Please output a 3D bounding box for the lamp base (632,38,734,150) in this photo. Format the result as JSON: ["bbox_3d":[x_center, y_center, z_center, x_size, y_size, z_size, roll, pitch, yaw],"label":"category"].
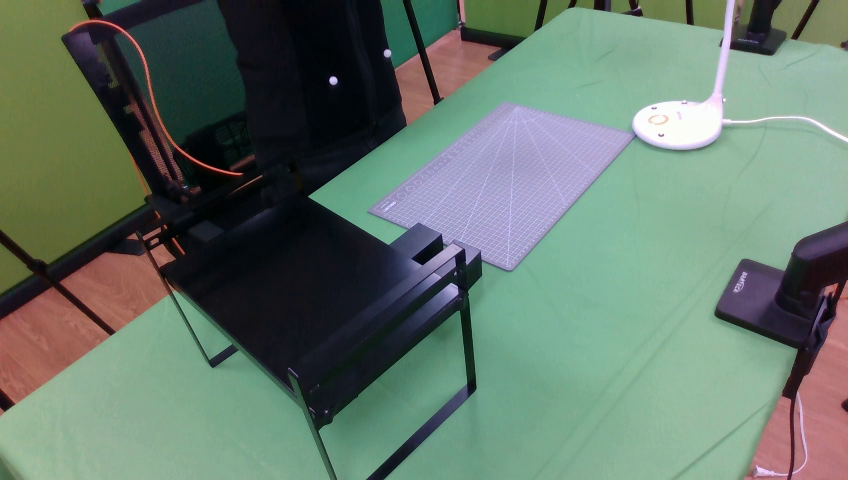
[{"bbox_3d":[0.486,-0.280,1.108,0.179,0.181,0.159,-5,41,-1],"label":"lamp base"}]
